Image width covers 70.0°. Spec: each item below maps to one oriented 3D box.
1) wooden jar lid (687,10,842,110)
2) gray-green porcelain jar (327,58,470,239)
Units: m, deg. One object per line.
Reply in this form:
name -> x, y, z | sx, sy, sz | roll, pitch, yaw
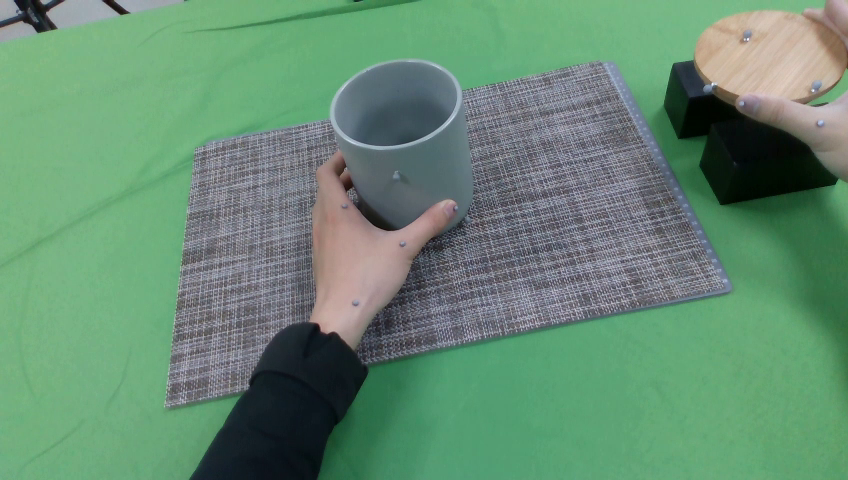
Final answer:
wooden jar lid -> 0.265, -0.142, 0.478 | 0.108, 0.021, 0.107 | -6, 56, 9
gray-green porcelain jar -> -0.016, -0.071, 0.516 | 0.106, 0.128, 0.105 | -5, 53, 7
